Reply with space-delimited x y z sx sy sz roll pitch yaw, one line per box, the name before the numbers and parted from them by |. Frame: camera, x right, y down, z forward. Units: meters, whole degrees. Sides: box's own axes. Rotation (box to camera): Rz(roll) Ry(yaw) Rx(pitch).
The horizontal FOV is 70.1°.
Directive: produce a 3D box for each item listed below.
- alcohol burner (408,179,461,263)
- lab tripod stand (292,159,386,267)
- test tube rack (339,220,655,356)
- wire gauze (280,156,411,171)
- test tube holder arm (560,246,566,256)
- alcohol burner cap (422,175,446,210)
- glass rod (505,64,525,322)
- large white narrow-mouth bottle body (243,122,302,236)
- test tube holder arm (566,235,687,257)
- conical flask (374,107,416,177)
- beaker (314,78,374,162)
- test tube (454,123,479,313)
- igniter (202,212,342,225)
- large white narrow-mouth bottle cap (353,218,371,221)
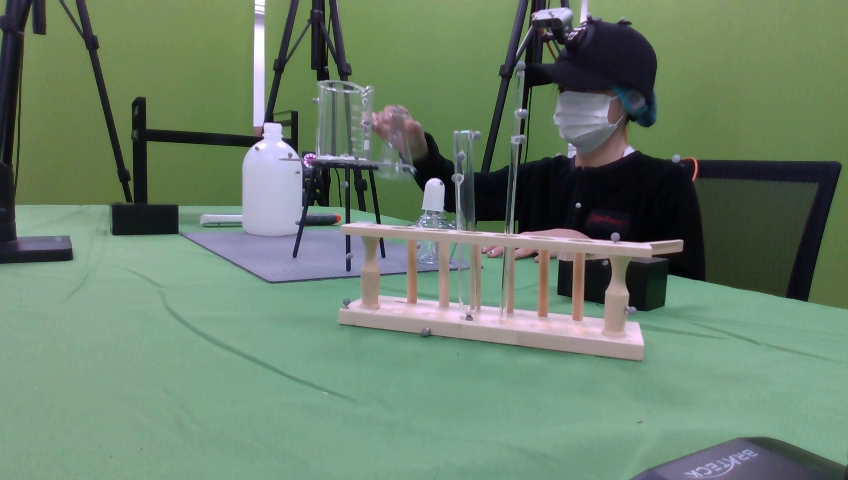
alcohol burner | 0.013 -0.029 0.834 0.078 0.119 0.078 0 6 0
lab tripod stand | -0.105 -0.039 0.797 0.148 0.131 0.148 2 5 0
test tube rack | 0.056 0.032 0.495 0.242 0.085 0.067 4 7 15
wire gauze | -0.103 -0.103 0.785 0.121 0.011 0.126 11 8 42
test tube holder arm | 0.173 0.007 0.611 0.088 0.015 0.010 -3 9 -30
alcohol burner cap | 0.016 -0.065 0.830 0.034 0.048 0.034 7 4 0
glass rod | 0.069 -0.030 0.458 0.008 0.199 0.008 0 15 0
large white narrow-mouth bottle body | -0.265 -0.109 1.061 0.102 0.194 0.102 2 8 0
test tube holder arm | 0.215 0.006 0.629 0.179 0.015 0.013 -3 9 -30
conical flask | -0.048 -0.175 1.080 0.075 0.122 0.075 5 7 0
beaker | -0.101 -0.150 0.773 0.074 0.100 0.083 -2 8 -40
test tube | 0.034 -0.016 0.477 0.017 0.150 0.017 -2 9 1
igniter | -0.298 -0.044 1.216 0.278 0.025 0.057 -3 -2 -32
large white narrow-mouth bottle cap | -0.121 -0.030 1.184 0.038 0.024 0.037 2 8 0
